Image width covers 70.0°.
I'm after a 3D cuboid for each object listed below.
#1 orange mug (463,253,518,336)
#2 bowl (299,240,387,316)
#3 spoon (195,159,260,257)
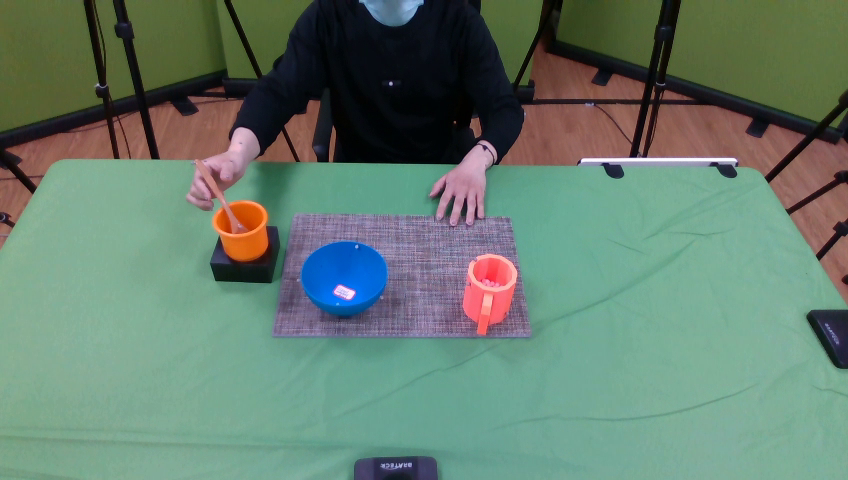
[{"bbox_3d":[0.112,0.098,1.050,0.083,0.101,0.125,10,41,6],"label":"orange mug"},{"bbox_3d":[-0.139,0.081,1.064,0.151,0.077,0.150,2,46,-1],"label":"bowl"},{"bbox_3d":[-0.348,-0.057,1.069,0.041,0.194,0.021,-31,12,-23],"label":"spoon"}]
